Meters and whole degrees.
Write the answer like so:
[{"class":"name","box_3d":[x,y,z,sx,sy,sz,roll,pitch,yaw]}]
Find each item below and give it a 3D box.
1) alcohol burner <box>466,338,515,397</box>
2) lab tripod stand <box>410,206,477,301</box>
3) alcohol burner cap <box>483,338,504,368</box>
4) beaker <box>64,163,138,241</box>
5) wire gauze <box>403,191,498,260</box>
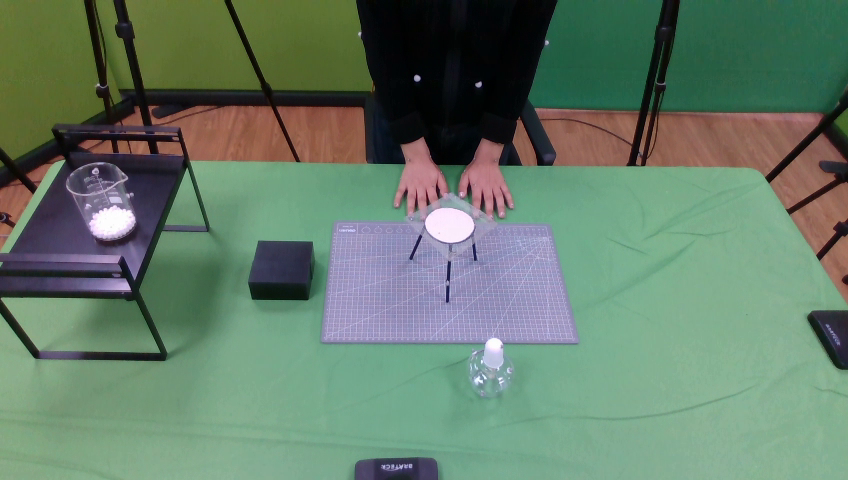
[{"class":"alcohol burner","box_3d":[0.106,0.195,0.952,0.078,0.120,0.077,1,46,0]},{"class":"lab tripod stand","box_3d":[0.039,0.015,1.101,0.148,0.132,0.147,1,47,-1]},{"class":"alcohol burner cap","box_3d":[0.108,0.170,0.928,0.034,0.048,0.033,-1,41,1]},{"class":"beaker","box_3d":[-0.478,-0.055,0.910,0.084,0.101,0.073,-9,48,-13]},{"class":"wire gauze","box_3d":[0.046,-0.032,1.053,0.121,0.011,0.124,-32,55,-29]}]
